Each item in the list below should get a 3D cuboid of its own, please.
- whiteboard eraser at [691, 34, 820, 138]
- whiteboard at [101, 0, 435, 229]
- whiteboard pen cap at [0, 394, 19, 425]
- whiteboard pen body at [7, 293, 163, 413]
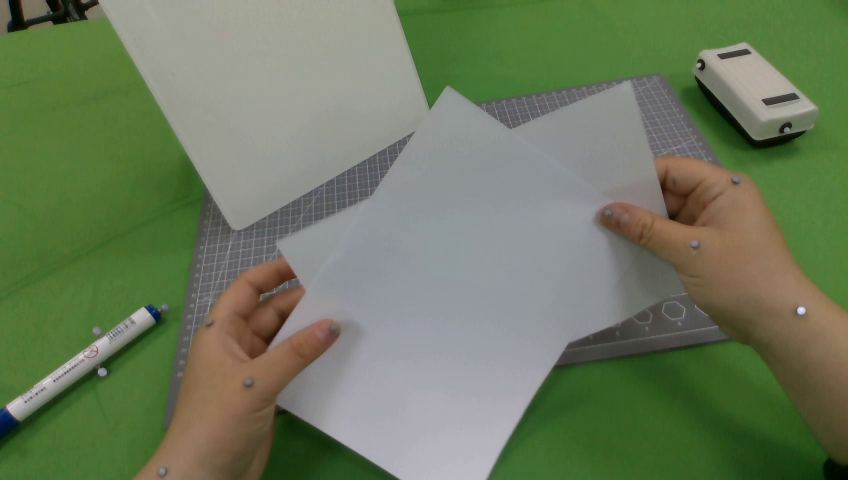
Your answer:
[{"bbox_3d":[0.291,-0.137,0.540,0.055,0.042,0.111,-15,51,-3],"label":"whiteboard eraser"},{"bbox_3d":[-0.156,-0.208,0.523,0.217,0.308,0.142,-33,33,-18],"label":"whiteboard"},{"bbox_3d":[-0.293,0.119,0.411,0.018,0.018,0.033,33,60,30],"label":"whiteboard pen cap"},{"bbox_3d":[-0.253,0.086,0.436,0.017,0.017,0.140,34,61,30],"label":"whiteboard pen body"}]
